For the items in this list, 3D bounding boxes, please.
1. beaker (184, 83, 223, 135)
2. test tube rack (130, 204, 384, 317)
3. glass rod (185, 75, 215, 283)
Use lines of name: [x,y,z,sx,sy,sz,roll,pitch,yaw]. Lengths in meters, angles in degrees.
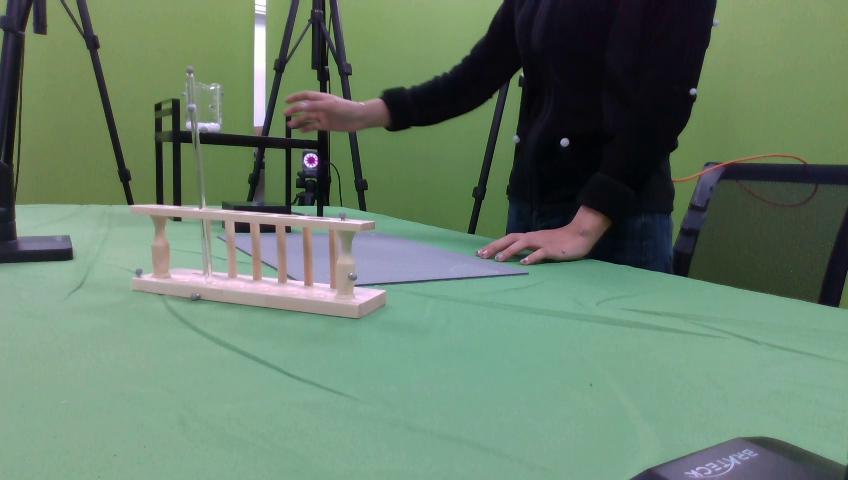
beaker: [-0.456,-0.271,1.256,0.074,0.100,0.083,-3,9,-33]
test tube rack: [-0.163,0.013,0.589,0.242,0.085,0.067,4,8,17]
glass rod: [-0.210,-0.052,0.568,0.008,0.199,0.008,-1,14,1]
